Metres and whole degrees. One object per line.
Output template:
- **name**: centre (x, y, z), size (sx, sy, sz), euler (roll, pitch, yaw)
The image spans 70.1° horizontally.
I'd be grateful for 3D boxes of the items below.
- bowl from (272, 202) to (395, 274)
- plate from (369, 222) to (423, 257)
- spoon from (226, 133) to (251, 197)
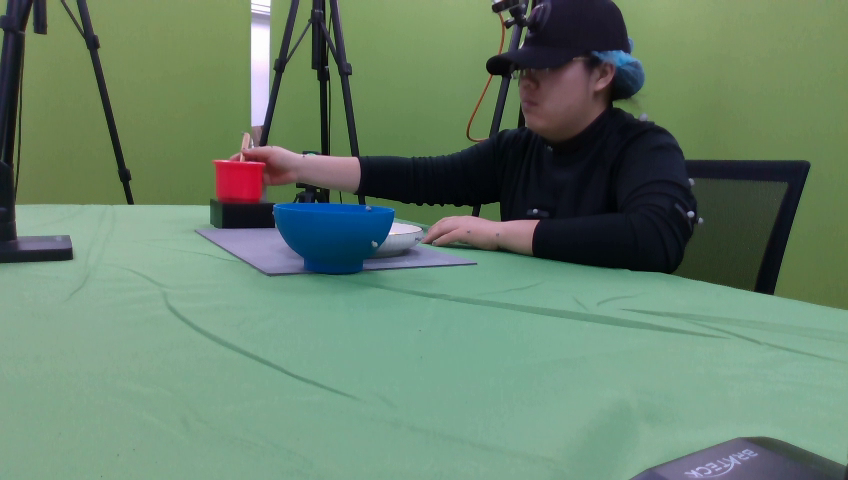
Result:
- **bowl**: centre (-0.112, -0.003, 0.751), size (0.151, 0.077, 0.151), euler (3, 7, 0)
- **plate**: centre (-0.105, -0.003, 0.922), size (0.208, 0.039, 0.207), euler (3, 7, 0)
- **spoon**: centre (-0.357, -0.150, 1.188), size (0.042, 0.021, 0.193), euler (4, 50, -10)
